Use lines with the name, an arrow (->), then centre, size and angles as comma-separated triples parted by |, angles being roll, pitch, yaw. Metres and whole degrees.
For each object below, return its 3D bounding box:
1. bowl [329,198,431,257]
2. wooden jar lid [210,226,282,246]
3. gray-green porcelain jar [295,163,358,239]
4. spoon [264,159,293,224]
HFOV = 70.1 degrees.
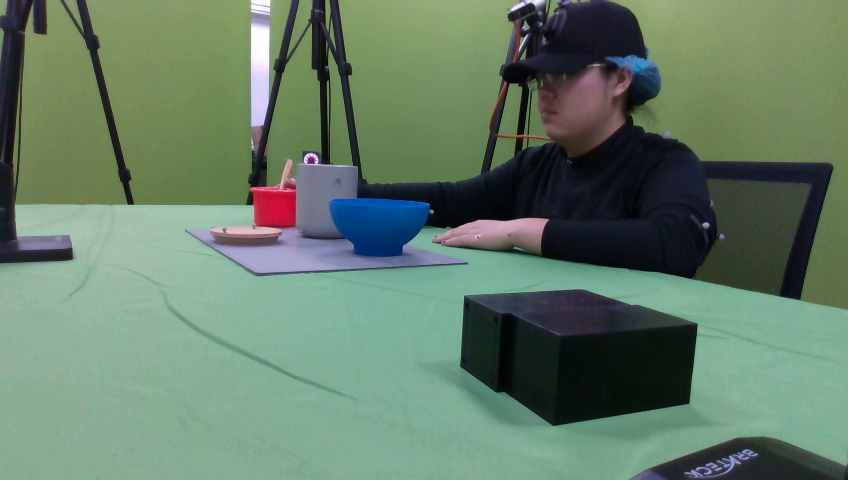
bowl -> -0.067, -0.019, 0.894 | 0.151, 0.077, 0.151 | 3, 7, 0
wooden jar lid -> -0.279, -0.007, 0.951 | 0.108, 0.020, 0.108 | 2, 8, 0
gray-green porcelain jar -> -0.170, -0.069, 1.054 | 0.106, 0.126, 0.106 | 3, 7, 0
spoon -> -0.288, -0.102, 1.227 | 0.041, 0.021, 0.193 | 1, 51, 3
